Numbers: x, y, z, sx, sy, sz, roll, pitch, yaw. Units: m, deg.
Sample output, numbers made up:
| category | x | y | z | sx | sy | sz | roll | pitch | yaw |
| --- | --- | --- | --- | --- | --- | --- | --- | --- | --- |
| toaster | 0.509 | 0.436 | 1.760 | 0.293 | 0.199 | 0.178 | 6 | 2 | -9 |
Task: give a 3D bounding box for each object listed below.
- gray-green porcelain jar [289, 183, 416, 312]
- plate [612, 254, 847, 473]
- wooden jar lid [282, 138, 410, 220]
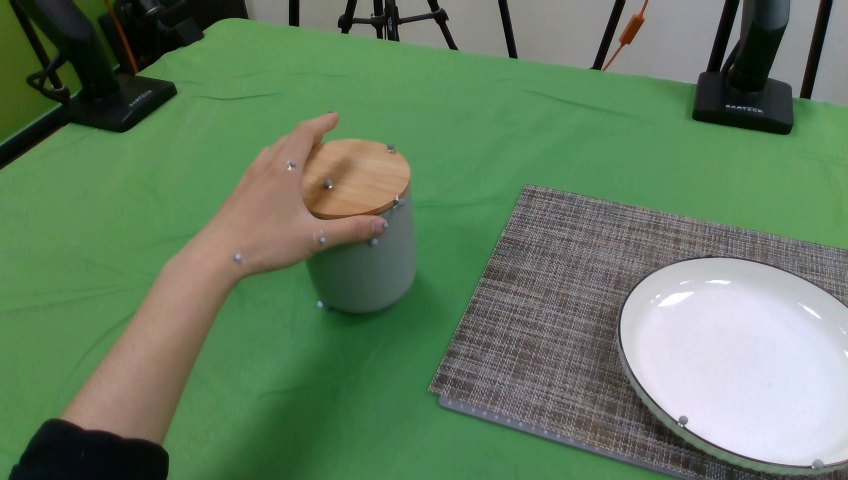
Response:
| category | x | y | z | sx | sy | sz | roll | pitch | yaw |
| --- | --- | --- | --- | --- | --- | --- | --- | --- | --- |
| gray-green porcelain jar | -0.062 | -0.004 | 0.563 | 0.106 | 0.127 | 0.105 | -1 | 44 | 2 |
| plate | 0.260 | 0.097 | 0.499 | 0.207 | 0.039 | 0.205 | -1 | 43 | 2 |
| wooden jar lid | -0.066 | -0.050 | 0.519 | 0.108 | 0.021 | 0.107 | 1 | 43 | -1 |
